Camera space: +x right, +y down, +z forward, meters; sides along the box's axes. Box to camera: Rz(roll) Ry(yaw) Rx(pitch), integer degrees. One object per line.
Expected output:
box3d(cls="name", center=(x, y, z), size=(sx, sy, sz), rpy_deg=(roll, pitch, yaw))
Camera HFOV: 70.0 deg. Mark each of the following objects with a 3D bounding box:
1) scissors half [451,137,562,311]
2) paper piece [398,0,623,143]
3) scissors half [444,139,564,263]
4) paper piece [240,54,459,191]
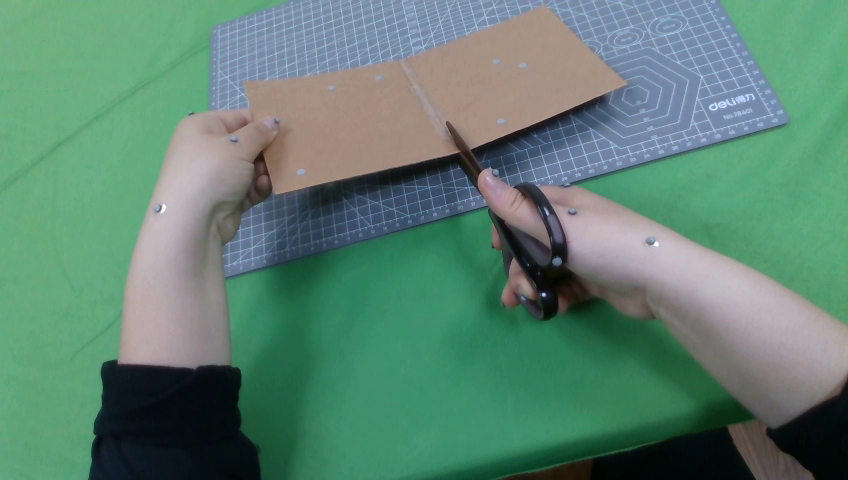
box3d(cls="scissors half", center=(0.046, -0.024, 0.407), size=(0.013, 0.040, 0.173), rpy_deg=(-21, 58, -9))
box3d(cls="paper piece", center=(0.063, -0.140, 0.481), size=(0.135, 0.004, 0.134), rpy_deg=(-21, 52, -6))
box3d(cls="scissors half", center=(0.043, -0.039, 0.391), size=(0.013, 0.040, 0.173), rpy_deg=(-17, 32, -12))
box3d(cls="paper piece", center=(-0.062, -0.097, 0.461), size=(0.138, 0.009, 0.134), rpy_deg=(-16, 46, -11))
